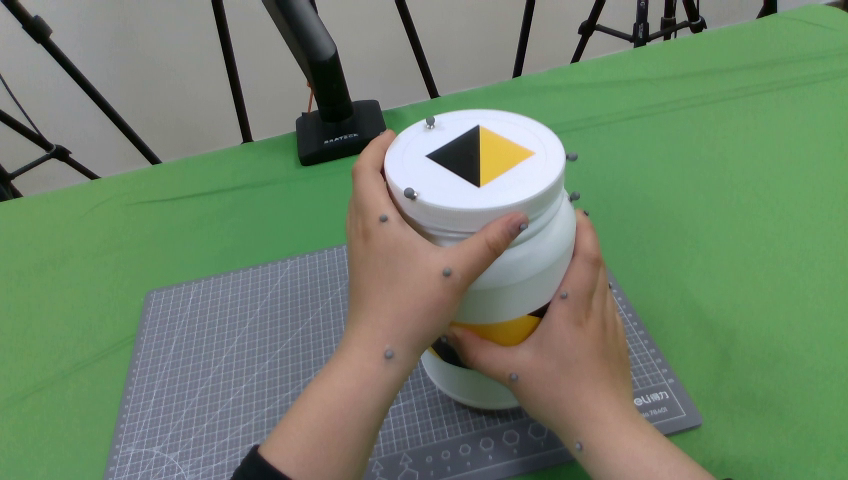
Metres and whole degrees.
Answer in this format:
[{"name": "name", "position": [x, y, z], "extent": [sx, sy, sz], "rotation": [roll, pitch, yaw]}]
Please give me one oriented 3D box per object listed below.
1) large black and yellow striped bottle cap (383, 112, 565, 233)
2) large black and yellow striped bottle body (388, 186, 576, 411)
[{"name": "large black and yellow striped bottle cap", "position": [0.031, -0.047, 0.387], "extent": [0.115, 0.019, 0.114], "rotation": [-2, 42, 2]}, {"name": "large black and yellow striped bottle body", "position": [0.047, 0.023, 0.449], "extent": [0.130, 0.186, 0.129], "rotation": [-7, 41, 6]}]
